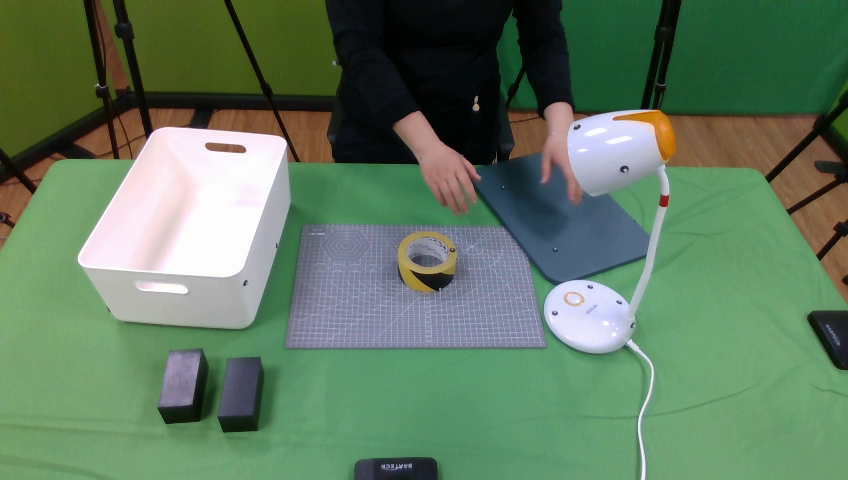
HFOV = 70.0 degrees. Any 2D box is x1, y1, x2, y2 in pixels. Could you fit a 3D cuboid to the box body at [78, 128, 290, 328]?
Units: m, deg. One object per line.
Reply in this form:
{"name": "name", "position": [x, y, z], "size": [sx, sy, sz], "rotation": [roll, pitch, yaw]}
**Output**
{"name": "box body", "position": [-0.400, -0.026, 1.095], "size": [0.254, 0.161, 0.362], "rotation": [4, 46, 0]}

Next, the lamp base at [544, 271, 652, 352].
{"name": "lamp base", "position": [0.310, 0.086, 1.029], "size": [0.178, 0.181, 0.160], "rotation": [32, 52, 21]}

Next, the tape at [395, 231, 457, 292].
{"name": "tape", "position": [0.005, 0.039, 1.136], "size": [0.117, 0.053, 0.116], "rotation": [2, 46, -2]}

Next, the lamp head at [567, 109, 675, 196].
{"name": "lamp head", "position": [0.272, -0.123, 0.818], "size": [0.122, 0.113, 0.112], "rotation": [-9, 35, 37]}

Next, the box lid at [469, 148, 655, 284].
{"name": "box lid", "position": [0.285, -0.064, 1.289], "size": [0.263, 0.015, 0.369], "rotation": [-16, 49, -19]}
